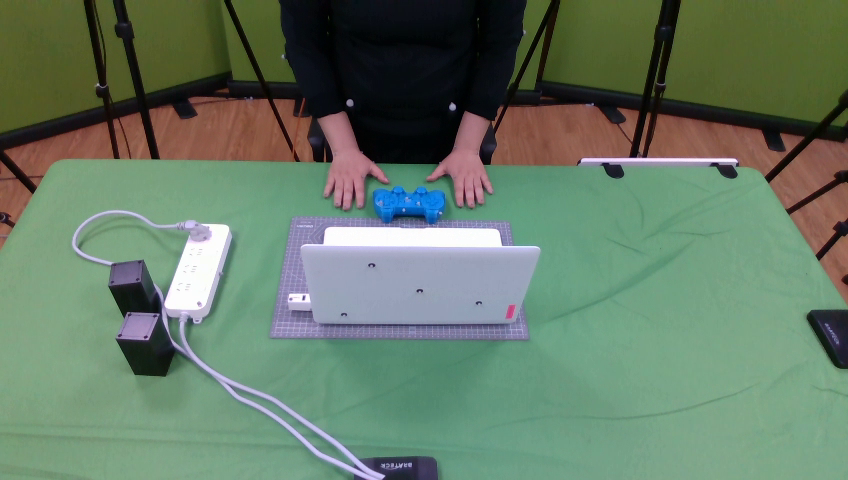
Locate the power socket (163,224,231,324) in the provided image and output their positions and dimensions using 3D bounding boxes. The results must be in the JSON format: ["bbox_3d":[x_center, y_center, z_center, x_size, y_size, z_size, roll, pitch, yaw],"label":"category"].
[{"bbox_3d":[-0.410,0.052,1.107,0.072,0.033,0.225,3,46,-3],"label":"power socket"}]

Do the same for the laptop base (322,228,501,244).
[{"bbox_3d":[-0.020,0.063,1.136,0.355,0.023,0.234,0,43,-4],"label":"laptop base"}]

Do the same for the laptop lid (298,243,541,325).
[{"bbox_3d":[-0.010,0.076,0.958,0.357,0.243,0.013,1,53,-5],"label":"laptop lid"}]

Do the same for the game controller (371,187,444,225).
[{"bbox_3d":[-0.033,-0.079,1.254,0.155,0.052,0.096,1,48,-3],"label":"game controller"}]

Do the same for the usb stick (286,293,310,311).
[{"bbox_3d":[-0.210,0.109,1.060,0.059,0.027,0.021,4,45,-6],"label":"usb stick"}]

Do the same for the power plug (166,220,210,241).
[{"bbox_3d":[-0.440,-0.016,1.143,0.072,0.053,0.035,7,46,8],"label":"power plug"}]
